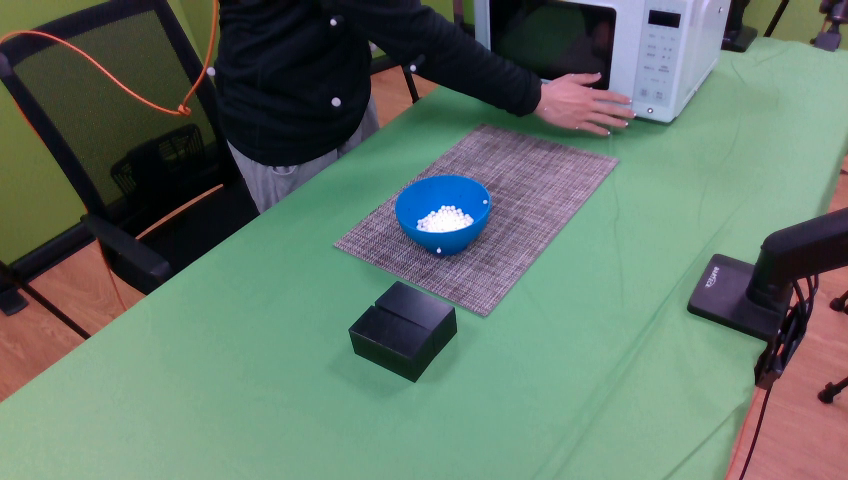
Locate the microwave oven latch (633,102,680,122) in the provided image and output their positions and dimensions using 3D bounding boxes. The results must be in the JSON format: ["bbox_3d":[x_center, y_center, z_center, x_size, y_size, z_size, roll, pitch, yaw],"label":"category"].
[{"bbox_3d":[0.443,-0.249,1.157,0.078,0.029,0.030,21,49,30],"label":"microwave oven latch"}]

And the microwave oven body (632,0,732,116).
[{"bbox_3d":[0.377,-0.462,1.267,0.438,0.261,0.327,21,48,30],"label":"microwave oven body"}]

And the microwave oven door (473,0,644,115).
[{"bbox_3d":[0.257,-0.396,1.199,0.353,0.245,0.039,21,48,29],"label":"microwave oven door"}]

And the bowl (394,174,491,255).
[{"bbox_3d":[0.032,-0.030,0.949,0.151,0.077,0.150,-4,40,4],"label":"bowl"}]
